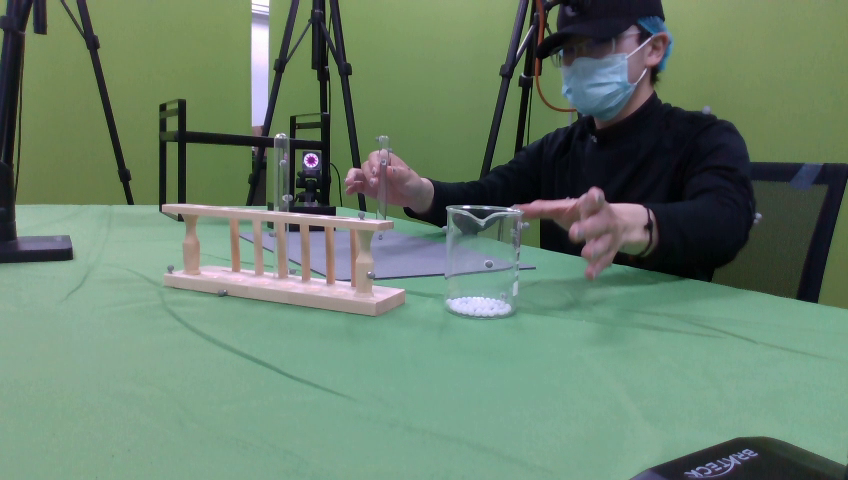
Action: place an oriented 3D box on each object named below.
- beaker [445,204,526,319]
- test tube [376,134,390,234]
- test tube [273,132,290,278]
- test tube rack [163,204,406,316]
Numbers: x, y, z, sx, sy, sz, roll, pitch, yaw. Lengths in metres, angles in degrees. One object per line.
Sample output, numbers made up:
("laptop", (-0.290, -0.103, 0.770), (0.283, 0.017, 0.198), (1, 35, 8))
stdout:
("beaker", (0.055, 0.019, 0.563), (0.074, 0.100, 0.084), (3, 8, 8))
("test tube", (-0.062, -0.083, 0.906), (0.017, 0.150, 0.017), (3, 4, 0))
("test tube", (-0.146, -0.034, 0.617), (0.017, 0.150, 0.017), (2, 8, 0))
("test tube rack", (-0.141, 0.013, 0.601), (0.241, 0.085, 0.067), (5, 8, 21))
